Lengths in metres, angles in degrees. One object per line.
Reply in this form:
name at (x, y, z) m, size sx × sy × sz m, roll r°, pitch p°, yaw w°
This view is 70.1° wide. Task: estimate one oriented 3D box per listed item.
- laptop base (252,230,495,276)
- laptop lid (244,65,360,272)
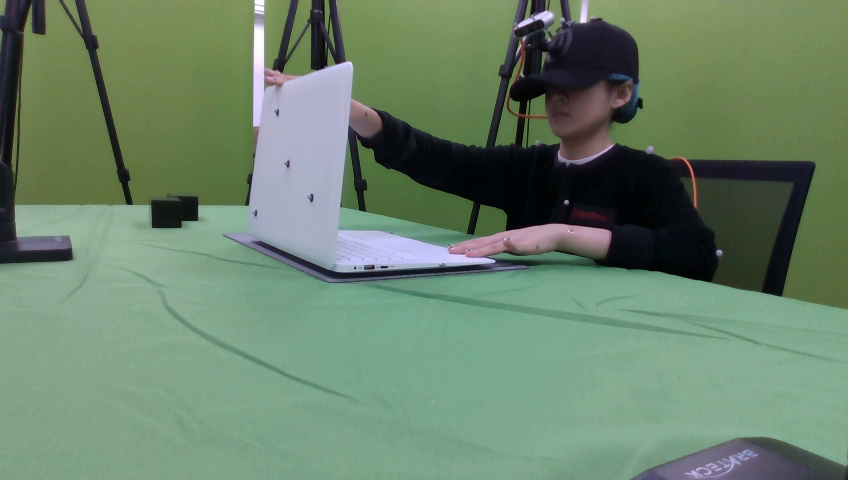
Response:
laptop base at (-0.093, 0.016, 0.884) m, size 0.237 × 0.023 × 0.352 m, roll 2°, pitch 6°, yaw -32°
laptop lid at (-0.179, -0.101, 0.811) m, size 0.013 × 0.241 × 0.355 m, roll 7°, pitch 5°, yaw -32°
